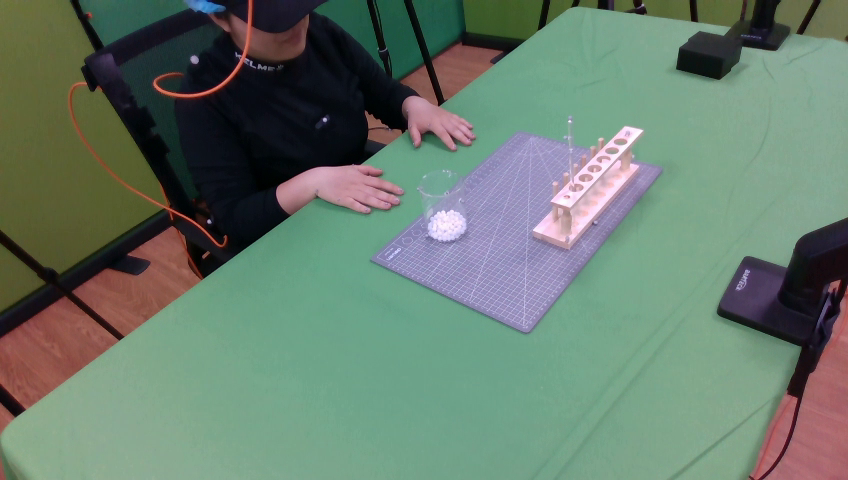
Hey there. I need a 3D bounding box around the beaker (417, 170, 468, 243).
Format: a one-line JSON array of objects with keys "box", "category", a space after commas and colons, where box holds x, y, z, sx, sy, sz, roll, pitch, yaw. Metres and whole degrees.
[{"box": [0.034, -0.054, 0.976, 0.073, 0.101, 0.084, 8, 42, 20], "category": "beaker"}]

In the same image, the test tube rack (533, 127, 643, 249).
[{"box": [0.271, -0.094, 0.990, 0.066, 0.085, 0.243, 23, 50, 33], "category": "test tube rack"}]

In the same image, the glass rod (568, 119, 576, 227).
[{"box": [0.218, -0.093, 0.894, 0.008, 0.201, 0.008, -8, 43, 8], "category": "glass rod"}]
